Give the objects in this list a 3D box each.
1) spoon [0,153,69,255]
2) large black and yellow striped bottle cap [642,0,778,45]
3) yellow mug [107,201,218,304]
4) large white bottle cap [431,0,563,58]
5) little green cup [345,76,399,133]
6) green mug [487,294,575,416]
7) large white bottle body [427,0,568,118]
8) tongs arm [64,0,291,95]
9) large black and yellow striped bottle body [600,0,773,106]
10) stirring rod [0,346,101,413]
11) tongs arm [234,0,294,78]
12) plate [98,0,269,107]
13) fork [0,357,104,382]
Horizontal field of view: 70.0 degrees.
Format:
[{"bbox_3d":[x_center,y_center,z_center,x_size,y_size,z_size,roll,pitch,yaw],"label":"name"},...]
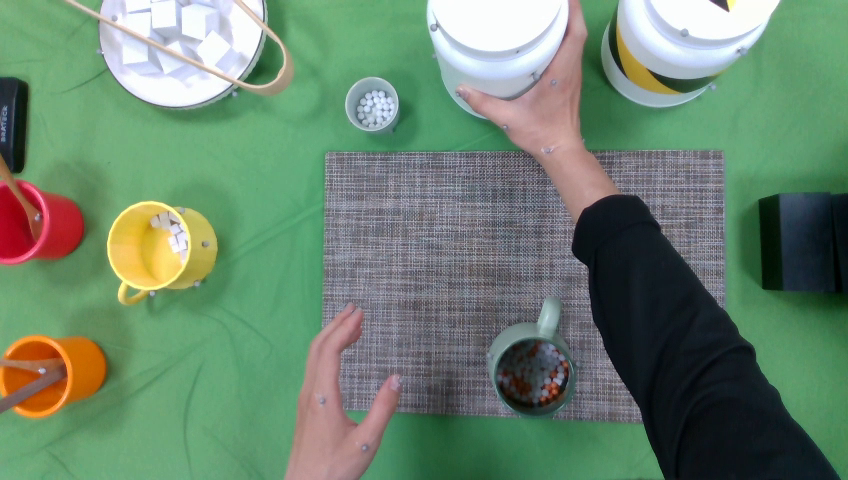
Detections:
[{"bbox_3d":[-0.457,-0.060,0.682,0.041,0.021,0.195,-3,132,6],"label":"spoon"},{"bbox_3d":[0.242,-0.223,0.510,0.115,0.019,0.115,0,88,5],"label":"large black and yellow striped bottle cap"},{"bbox_3d":[-0.310,0.020,0.704,0.100,0.064,0.131,34,92,6],"label":"yellow mug"},{"bbox_3d":[0.062,-0.215,0.521,0.115,0.018,0.114,0,86,7],"label":"large white bottle cap"},{"bbox_3d":[-0.057,-0.153,0.697,0.061,0.038,0.061,0,89,5],"label":"little green cup"},{"bbox_3d":[0.117,0.117,0.631,0.092,0.105,0.125,18,89,7],"label":"green mug"},{"bbox_3d":[0.073,-0.208,0.604,0.130,0.185,0.130,-1,85,7],"label":"large white bottle body"},{"bbox_3d":[-0.328,-0.256,0.698,0.383,0.026,0.050,30,88,8],"label":"tongs arm"},{"bbox_3d":[0.253,-0.217,0.593,0.130,0.184,0.130,0,87,7],"label":"large black and yellow striped bottle body"},{"bbox_3d":[-0.449,0.171,0.676,0.176,0.006,0.014,-34,84,-38],"label":"stirring rod"},{"bbox_3d":[-0.280,-0.324,0.697,0.386,0.028,0.028,44,86,8],"label":"tongs arm"},{"bbox_3d":[-0.283,-0.260,0.726,0.207,0.039,0.207,0,88,6],"label":"plate"},{"bbox_3d":[-0.470,0.134,0.674,0.209,0.018,0.028,20,86,-36],"label":"fork"}]
